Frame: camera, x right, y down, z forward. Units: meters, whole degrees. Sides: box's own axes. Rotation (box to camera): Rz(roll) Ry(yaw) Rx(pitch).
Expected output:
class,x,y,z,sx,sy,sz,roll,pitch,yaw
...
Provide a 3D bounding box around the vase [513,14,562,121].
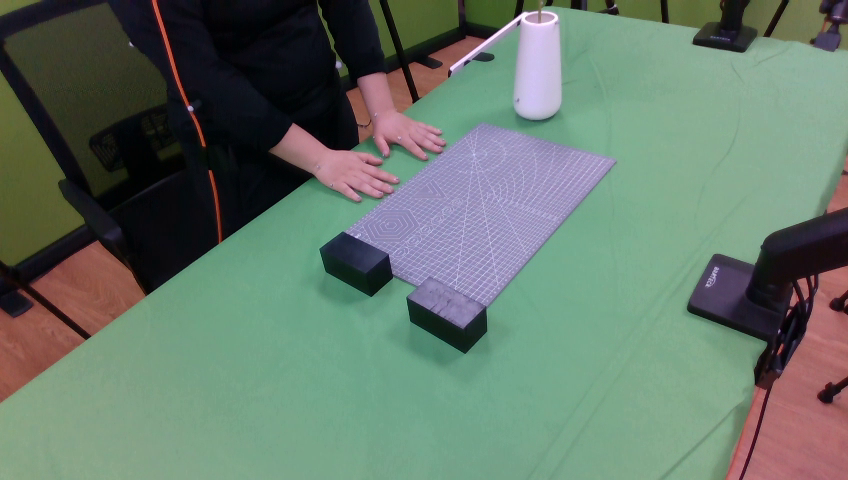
class,x,y,z,sx,sy,sz,roll,pitch,yaw
vase,0.225,-0.336,1.196,0.098,0.201,0.097,-5,42,5

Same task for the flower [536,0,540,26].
class,x,y,z,sx,sy,sz,roll,pitch,yaw
flower,0.214,-0.386,1.130,0.044,0.363,0.038,11,62,15
